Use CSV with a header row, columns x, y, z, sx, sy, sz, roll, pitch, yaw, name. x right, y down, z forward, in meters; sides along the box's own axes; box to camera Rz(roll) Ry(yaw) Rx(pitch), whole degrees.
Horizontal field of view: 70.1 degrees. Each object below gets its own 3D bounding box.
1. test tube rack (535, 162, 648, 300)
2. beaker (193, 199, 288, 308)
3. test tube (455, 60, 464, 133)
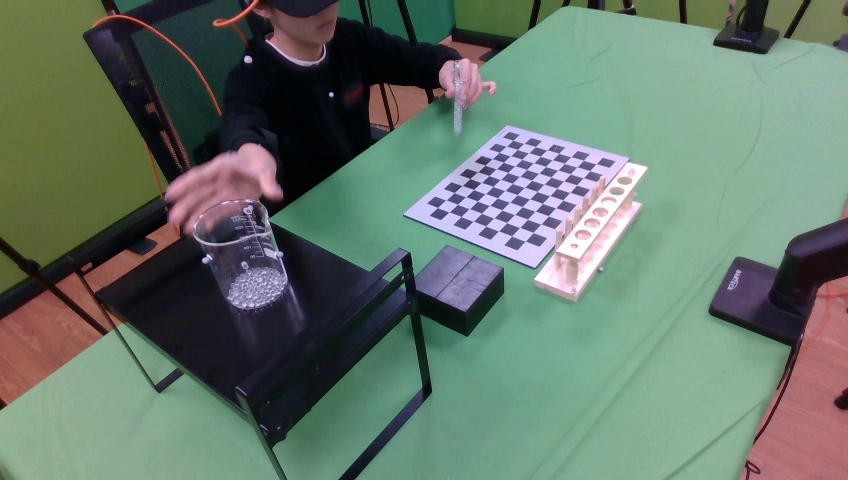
x,y,z,sx,sy,sz,roll,pitch,yaw,name
0.257,-0.024,0.916,0.066,0.085,0.243,22,49,30,test tube rack
-0.188,0.018,0.646,0.083,0.101,0.074,9,44,17,beaker
0.064,-0.257,1.096,0.017,0.151,0.017,-1,48,2,test tube
